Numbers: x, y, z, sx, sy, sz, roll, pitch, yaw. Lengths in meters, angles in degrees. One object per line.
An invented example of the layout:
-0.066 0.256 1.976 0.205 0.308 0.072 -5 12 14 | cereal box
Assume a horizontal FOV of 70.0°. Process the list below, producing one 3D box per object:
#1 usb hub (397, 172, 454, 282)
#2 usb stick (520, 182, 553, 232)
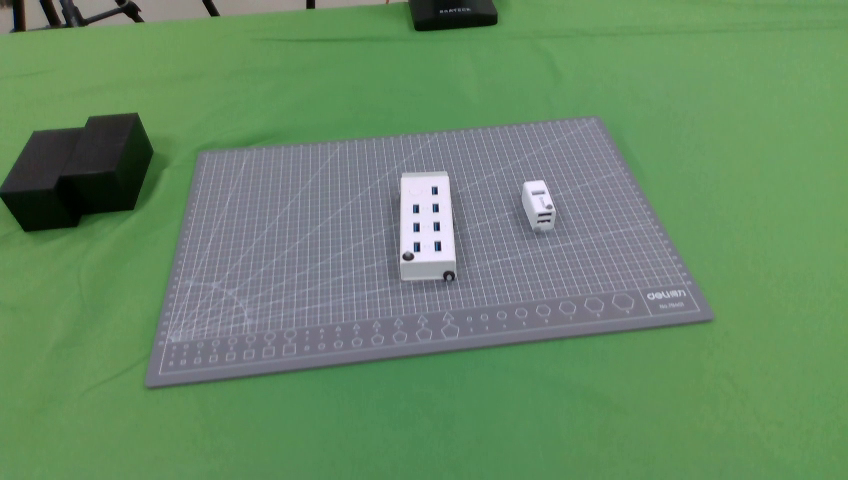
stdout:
0.000 -0.015 0.561 0.049 0.025 0.124 -2 45 0 | usb hub
0.105 -0.036 0.578 0.021 0.027 0.058 -7 42 -3 | usb stick
